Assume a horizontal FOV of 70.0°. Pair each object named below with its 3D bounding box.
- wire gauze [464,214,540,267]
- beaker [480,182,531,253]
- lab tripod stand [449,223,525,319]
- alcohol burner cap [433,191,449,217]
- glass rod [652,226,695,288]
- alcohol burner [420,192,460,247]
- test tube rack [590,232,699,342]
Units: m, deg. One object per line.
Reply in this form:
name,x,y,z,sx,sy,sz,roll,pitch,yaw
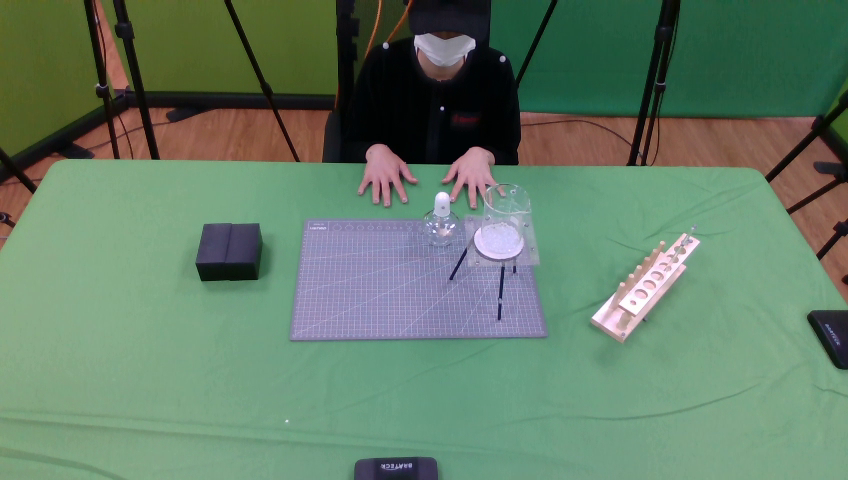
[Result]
wire gauze,0.131,-0.001,1.035,0.121,0.011,0.124,1,44,-3
beaker,0.133,-0.033,0.998,0.083,0.101,0.074,26,51,22
lab tripod stand,0.120,0.046,1.080,0.148,0.132,0.147,1,47,-1
alcohol burner cap,0.033,-0.070,1.150,0.034,0.048,0.033,0,45,0
glass rod,0.432,0.037,1.057,0.008,0.200,0.008,1,54,-1
alcohol burner,0.032,-0.045,1.176,0.078,0.120,0.077,2,44,-1
test tube rack,0.407,0.074,1.112,0.066,0.085,0.242,35,53,26
